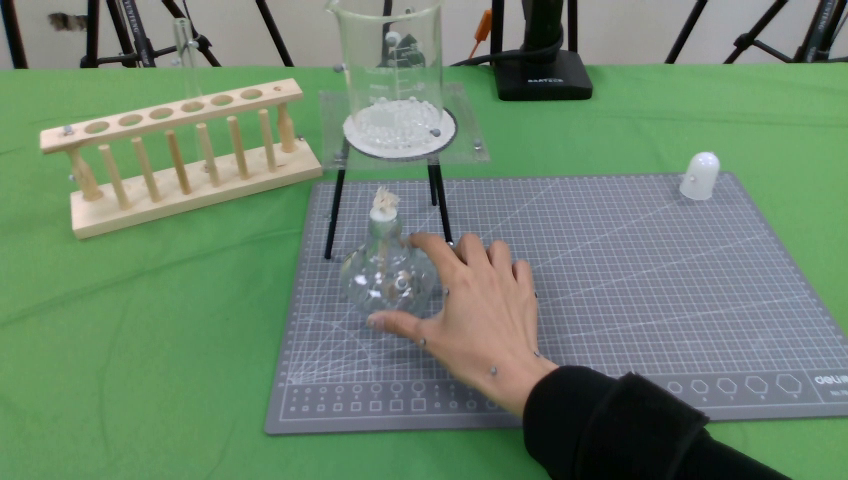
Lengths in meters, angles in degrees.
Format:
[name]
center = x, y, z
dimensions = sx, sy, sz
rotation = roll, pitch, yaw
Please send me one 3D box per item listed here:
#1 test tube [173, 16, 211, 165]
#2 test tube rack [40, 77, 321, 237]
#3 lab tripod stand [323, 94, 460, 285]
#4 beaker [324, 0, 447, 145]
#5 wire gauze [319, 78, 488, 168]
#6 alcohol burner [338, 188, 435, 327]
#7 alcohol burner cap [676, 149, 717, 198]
[test tube]
center = -0.225, -0.141, 0.593
dimensions = 0.017, 0.151, 0.017
rotation = 3, 36, -2
[test tube rack]
center = -0.234, -0.088, 0.609
dimensions = 0.243, 0.086, 0.066
rotation = -18, 45, -19
[lab tripod stand]
center = -0.021, -0.044, 0.517
dimensions = 0.148, 0.133, 0.147
rotation = -1, 44, 1
[beaker]
center = -0.025, -0.127, 0.438
dimensions = 0.084, 0.101, 0.073
rotation = 0, 41, 3
[wire gauze]
center = -0.021, -0.092, 0.473
dimensions = 0.125, 0.011, 0.120
rotation = -7, 40, -3
[alcohol burner]
center = -0.030, 0.010, 0.472
dimensions = 0.078, 0.120, 0.077
rotation = 0, 40, 1
[alcohol burner cap]
center = 0.277, -0.069, 0.613
dimensions = 0.034, 0.048, 0.033
rotation = 0, 42, 0
